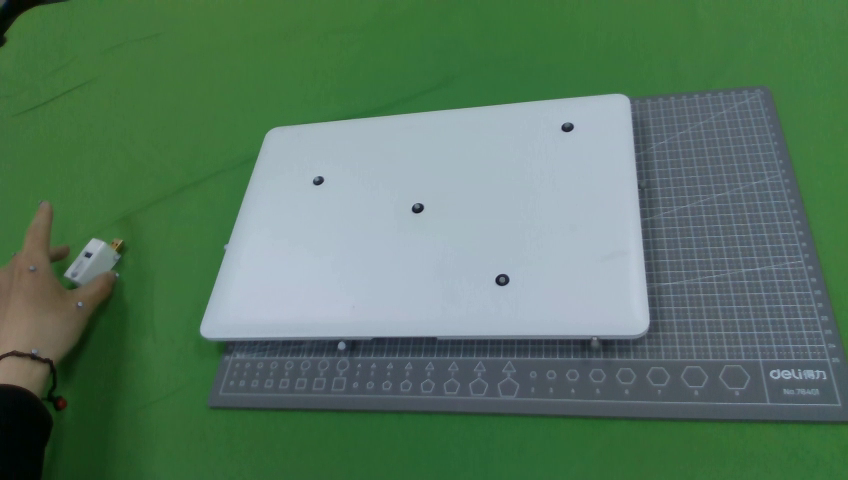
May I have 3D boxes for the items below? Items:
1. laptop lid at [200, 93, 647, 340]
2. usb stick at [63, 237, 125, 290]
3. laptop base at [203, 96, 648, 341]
[{"bbox_3d":[-0.006,-0.025,0.512,0.356,0.013,0.239,-1,58,15],"label":"laptop lid"},{"bbox_3d":[-0.313,0.017,0.580,0.021,0.027,0.059,7,55,34],"label":"usb stick"},{"bbox_3d":[-0.002,-0.020,0.523,0.353,0.023,0.233,-3,58,14],"label":"laptop base"}]
